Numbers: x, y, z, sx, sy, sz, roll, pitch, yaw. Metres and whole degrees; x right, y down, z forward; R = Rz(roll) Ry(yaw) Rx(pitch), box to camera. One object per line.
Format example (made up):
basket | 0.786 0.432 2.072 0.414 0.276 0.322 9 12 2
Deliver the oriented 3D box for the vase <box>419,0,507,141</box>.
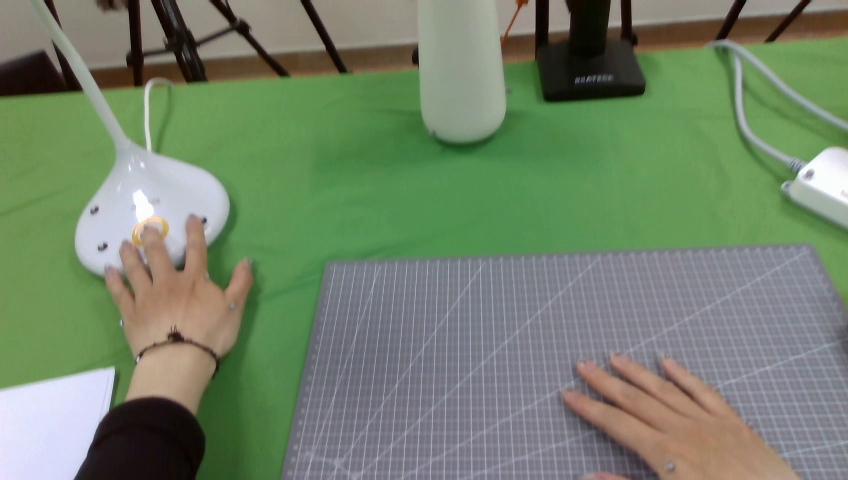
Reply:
vase | 0.041 -0.205 0.646 0.098 0.202 0.097 -3 46 4

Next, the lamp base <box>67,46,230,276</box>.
lamp base | -0.300 -0.084 0.592 0.161 0.182 0.177 -26 47 -15

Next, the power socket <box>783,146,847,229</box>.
power socket | 0.439 -0.014 0.530 0.072 0.033 0.224 -33 51 -21
